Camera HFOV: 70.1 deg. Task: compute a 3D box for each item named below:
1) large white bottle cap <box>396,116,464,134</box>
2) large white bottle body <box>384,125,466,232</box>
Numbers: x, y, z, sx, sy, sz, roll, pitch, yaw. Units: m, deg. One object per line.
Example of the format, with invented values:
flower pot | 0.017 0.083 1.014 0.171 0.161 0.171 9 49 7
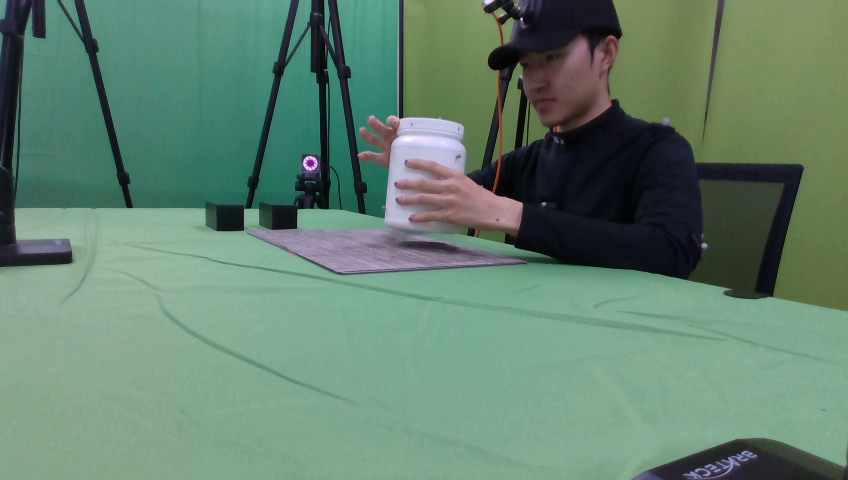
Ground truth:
large white bottle cap | 0.010 -0.193 1.027 0.115 0.018 0.115 4 2 0
large white bottle body | 0.003 -0.109 1.031 0.131 0.184 0.130 5 2 0
